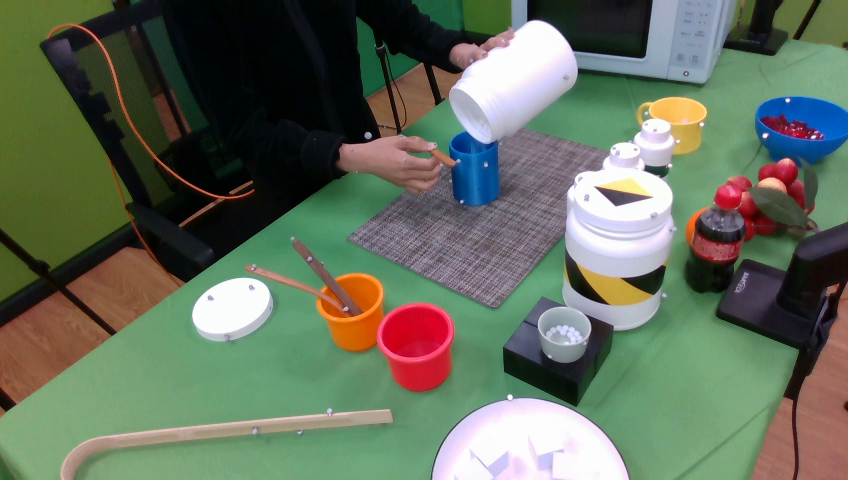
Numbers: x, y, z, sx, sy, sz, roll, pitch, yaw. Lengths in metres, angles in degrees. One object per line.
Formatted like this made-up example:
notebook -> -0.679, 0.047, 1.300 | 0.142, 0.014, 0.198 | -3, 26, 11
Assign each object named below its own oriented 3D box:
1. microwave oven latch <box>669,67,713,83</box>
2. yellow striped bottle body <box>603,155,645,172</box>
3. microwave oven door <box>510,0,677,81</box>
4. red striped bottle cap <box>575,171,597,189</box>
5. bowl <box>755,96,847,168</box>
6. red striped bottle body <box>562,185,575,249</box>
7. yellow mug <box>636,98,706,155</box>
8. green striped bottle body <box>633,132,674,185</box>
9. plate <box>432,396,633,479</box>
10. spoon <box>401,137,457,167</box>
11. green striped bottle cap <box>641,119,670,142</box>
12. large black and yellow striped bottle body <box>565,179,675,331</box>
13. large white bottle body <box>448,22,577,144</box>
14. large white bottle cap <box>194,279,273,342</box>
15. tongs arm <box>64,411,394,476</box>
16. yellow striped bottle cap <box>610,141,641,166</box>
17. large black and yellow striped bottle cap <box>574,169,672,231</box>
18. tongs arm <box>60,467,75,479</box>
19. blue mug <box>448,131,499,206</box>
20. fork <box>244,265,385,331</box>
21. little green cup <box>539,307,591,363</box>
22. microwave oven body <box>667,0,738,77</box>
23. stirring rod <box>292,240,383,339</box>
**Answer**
microwave oven latch -> 0.556, -0.349, 1.261 | 0.078, 0.029, 0.030 | 16, 46, 27
yellow striped bottle body -> 0.314, -0.091, 0.958 | 0.063, 0.121, 0.062 | -4, 40, 4
microwave oven door -> 0.354, -0.478, 1.290 | 0.353, 0.245, 0.039 | 15, 45, 25
red striped bottle cap -> 0.242, -0.081, 0.876 | 0.044, 0.018, 0.044 | -5, 44, 5
bowl -> 0.645, -0.177, 1.041 | 0.151, 0.077, 0.150 | -5, 40, 4
red striped bottle body -> 0.247, -0.041, 0.910 | 0.063, 0.120, 0.062 | 0, 38, 1
yellow mug -> 0.453, -0.217, 1.128 | 0.100, 0.064, 0.129 | -34, 46, -27
green striped bottle body -> 0.376, -0.135, 1.001 | 0.063, 0.120, 0.063 | -5, 40, 5
plate -> 0.112, 0.261, 0.634 | 0.209, 0.038, 0.208 | -5, 40, 4
spoon -> 0.007, -0.141, 0.963 | 0.042, 0.022, 0.192 | -20, 22, -14
green striped bottle cap -> 0.371, -0.175, 0.968 | 0.044, 0.020, 0.044 | -6, 41, 6
large black and yellow striped bottle body -> 0.254, 0.014, 0.793 | 0.131, 0.185, 0.130 | -5, 40, 4
large white bottle body -> 0.143, -0.254, 0.994 | 0.185, 0.131, 0.129 | -39, 47, -12
large white bottle cap -> -0.284, 0.103, 0.902 | 0.115, 0.018, 0.114 | -4, 40, 4
tongs arm -> -0.228, 0.241, 0.715 | 0.385, 0.026, 0.050 | -5, 44, 4
yellow striped bottle cap -> 0.308, -0.131, 0.925 | 0.044, 0.019, 0.044 | -4, 46, 5
large black and yellow striped bottle cap -> 0.242, -0.051, 0.738 | 0.115, 0.019, 0.114 | -4, 37, 3
tongs arm -> -0.239, 0.301, 0.649 | 0.386, 0.028, 0.028 | 6, 49, 16
blue mug -> 0.089, -0.134, 1.051 | 0.082, 0.106, 0.116 | 2, 41, 11
fork -> -0.142, 0.078, 0.806 | 0.209, 0.018, 0.028 | 30, 32, -23
little green cup -> 0.167, 0.114, 0.721 | 0.061, 0.039, 0.061 | -4, 43, 4
microwave oven body -> 0.462, -0.552, 1.369 | 0.439, 0.261, 0.326 | 15, 45, 26
stirring rod -> -0.118, 0.068, 0.825 | 0.176, 0.006, 0.014 | 48, 59, -3
